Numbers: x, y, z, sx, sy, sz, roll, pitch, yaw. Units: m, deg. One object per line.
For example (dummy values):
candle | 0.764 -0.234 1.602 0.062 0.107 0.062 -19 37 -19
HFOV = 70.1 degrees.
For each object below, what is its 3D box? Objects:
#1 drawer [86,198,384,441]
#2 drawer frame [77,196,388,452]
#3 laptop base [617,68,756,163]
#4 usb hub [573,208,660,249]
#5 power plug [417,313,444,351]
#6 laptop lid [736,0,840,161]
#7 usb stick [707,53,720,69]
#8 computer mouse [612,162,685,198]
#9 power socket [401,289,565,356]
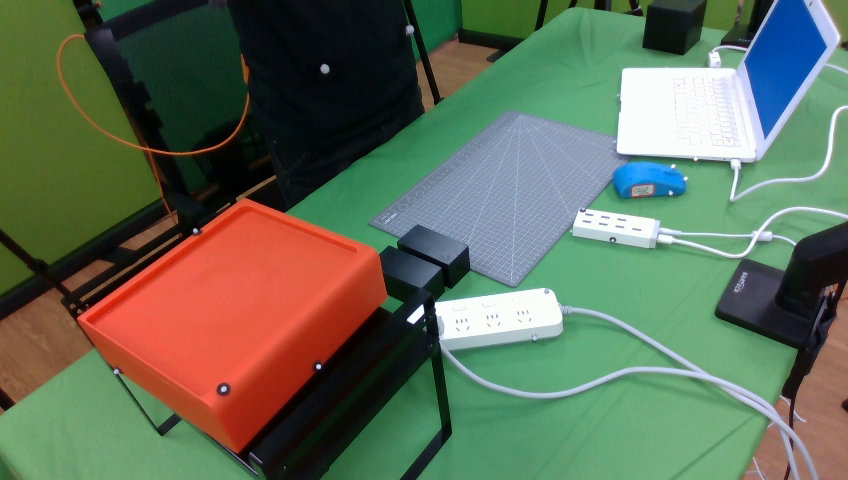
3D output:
drawer | -0.179 0.064 0.600 0.193 0.073 0.212 21 48 28
drawer frame | -0.179 0.066 0.598 0.200 0.083 0.214 20 48 28
laptop base | 0.509 -0.255 1.201 0.234 0.023 0.353 4 41 16
usb hub | 0.302 -0.019 0.949 0.124 0.025 0.049 11 43 20
power plug | 0.007 0.127 0.786 0.035 0.053 0.072 0 43 8
laptop lid | 0.641 -0.327 1.090 0.013 0.242 0.356 17 43 5
usb stick | 0.629 -0.382 1.313 0.021 0.027 0.059 2 46 17
computer mouse | 0.382 -0.103 1.027 0.117 0.041 0.062 0 39 2
power socket | 0.081 0.112 0.822 0.227 0.033 0.072 -7 41 0
